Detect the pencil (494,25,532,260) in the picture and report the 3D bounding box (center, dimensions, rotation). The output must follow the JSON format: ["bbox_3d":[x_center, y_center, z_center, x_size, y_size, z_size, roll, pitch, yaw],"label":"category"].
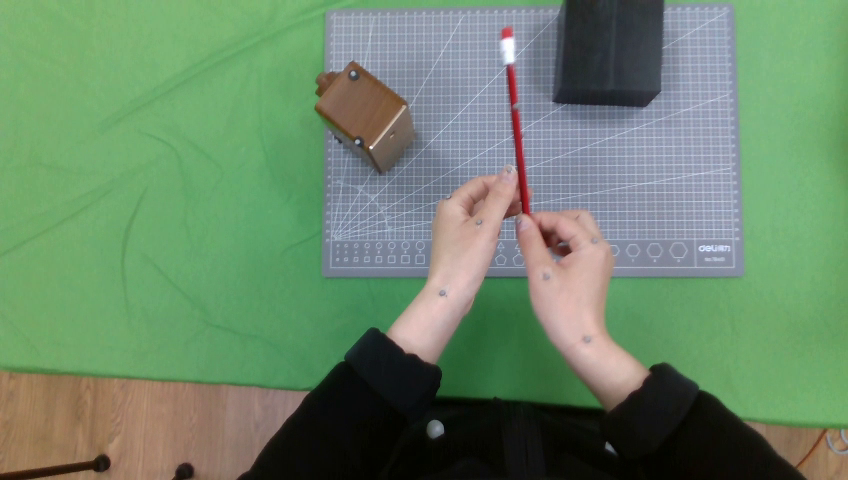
[{"bbox_3d":[0.075,-0.079,0.501,0.012,0.012,0.194,-8,95,2],"label":"pencil"}]

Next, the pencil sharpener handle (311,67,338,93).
[{"bbox_3d":[-0.104,-0.159,0.608,0.030,0.068,0.036,39,80,6],"label":"pencil sharpener handle"}]

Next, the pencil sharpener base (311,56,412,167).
[{"bbox_3d":[-0.062,-0.128,0.616,0.076,0.107,0.061,39,88,6],"label":"pencil sharpener base"}]
